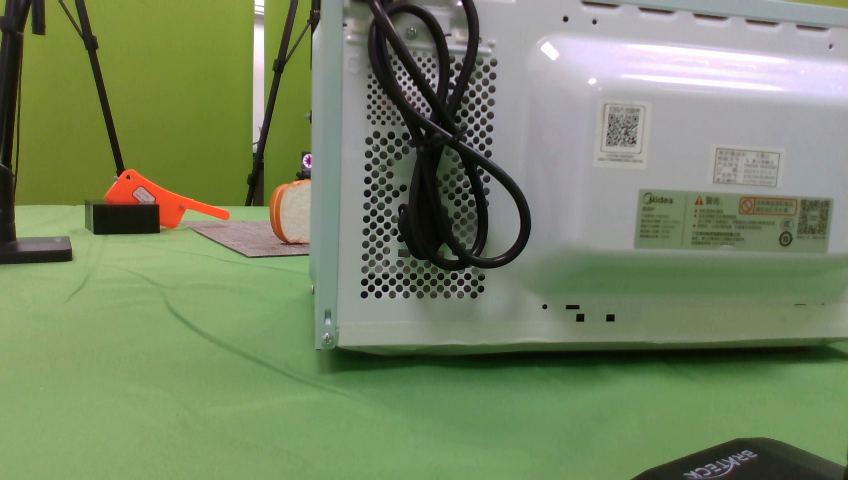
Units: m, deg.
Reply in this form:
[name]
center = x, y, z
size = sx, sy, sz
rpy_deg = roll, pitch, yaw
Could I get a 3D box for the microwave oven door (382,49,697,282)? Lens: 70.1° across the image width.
[microwave oven door]
center = 0.135, -0.077, 0.685
size = 0.357, 0.243, 0.039
rpy_deg = 1, 8, -12

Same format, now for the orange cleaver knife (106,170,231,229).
[orange cleaver knife]
center = -0.458, -0.060, 1.097
size = 0.212, 0.077, 0.012
rpy_deg = 23, -4, -38

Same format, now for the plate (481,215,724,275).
[plate]
center = 0.155, 0.002, 0.545
size = 0.208, 0.039, 0.207
rpy_deg = -1, 6, 0

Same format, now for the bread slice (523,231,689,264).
[bread slice]
center = 0.174, 0.006, 0.565
size = 0.134, 0.018, 0.107
rpy_deg = -5, 4, 29

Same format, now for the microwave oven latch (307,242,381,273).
[microwave oven latch]
center = -0.086, 0.019, 0.656
size = 0.079, 0.029, 0.030
rpy_deg = 2, 7, -10

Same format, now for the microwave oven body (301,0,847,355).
[microwave oven body]
center = 0.120, -0.053, 0.535
size = 0.443, 0.260, 0.325
rpy_deg = 2, 7, -11
